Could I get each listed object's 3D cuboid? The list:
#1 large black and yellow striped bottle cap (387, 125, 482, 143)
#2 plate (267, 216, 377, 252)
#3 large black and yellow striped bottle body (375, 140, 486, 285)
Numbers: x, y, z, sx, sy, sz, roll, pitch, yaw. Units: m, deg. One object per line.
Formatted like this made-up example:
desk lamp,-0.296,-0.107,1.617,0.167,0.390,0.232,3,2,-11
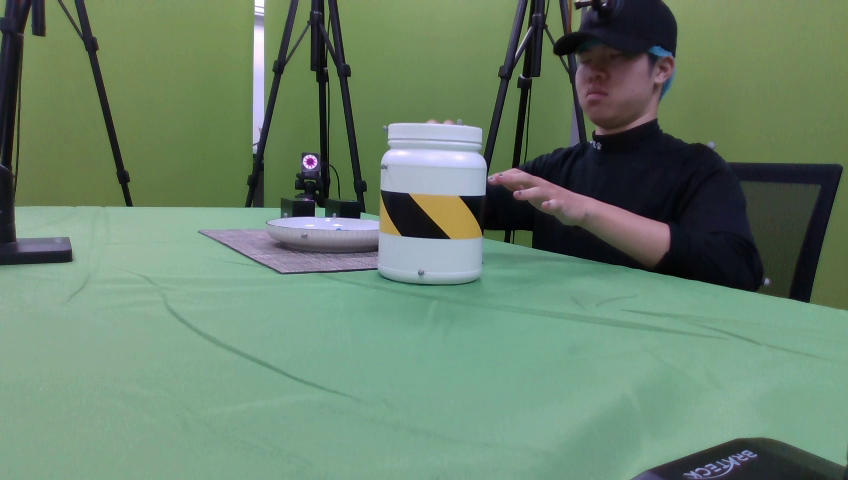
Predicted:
large black and yellow striped bottle cap,0.012,-0.127,0.731,0.115,0.019,0.115,1,6,0
plate,-0.145,-0.010,0.967,0.208,0.039,0.207,2,7,0
large black and yellow striped bottle body,0.008,-0.044,0.744,0.131,0.184,0.130,3,7,0
